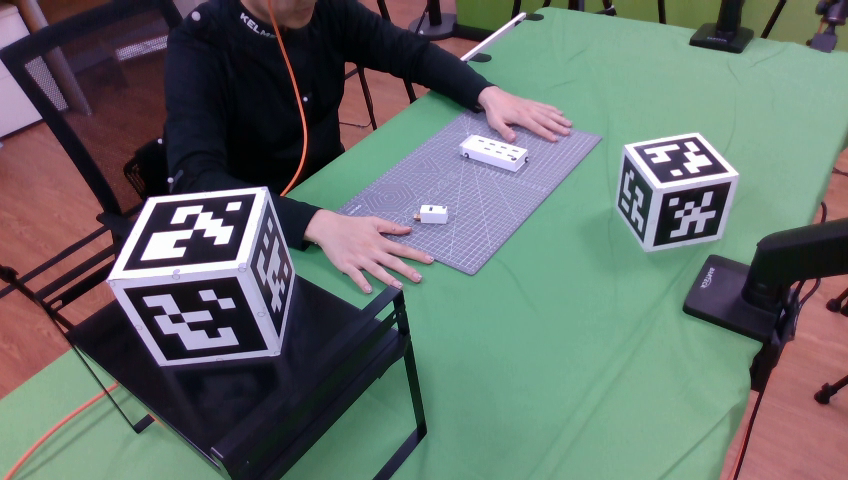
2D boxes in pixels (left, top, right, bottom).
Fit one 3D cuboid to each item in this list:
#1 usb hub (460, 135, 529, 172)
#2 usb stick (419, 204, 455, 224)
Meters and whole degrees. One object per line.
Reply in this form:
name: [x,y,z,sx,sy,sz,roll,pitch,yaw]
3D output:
usb hub: [0.132,-0.164,1.138,0.124,0.025,0.049,21,48,30]
usb stick: [0.023,-0.042,1.006,0.059,0.027,0.021,11,70,19]
